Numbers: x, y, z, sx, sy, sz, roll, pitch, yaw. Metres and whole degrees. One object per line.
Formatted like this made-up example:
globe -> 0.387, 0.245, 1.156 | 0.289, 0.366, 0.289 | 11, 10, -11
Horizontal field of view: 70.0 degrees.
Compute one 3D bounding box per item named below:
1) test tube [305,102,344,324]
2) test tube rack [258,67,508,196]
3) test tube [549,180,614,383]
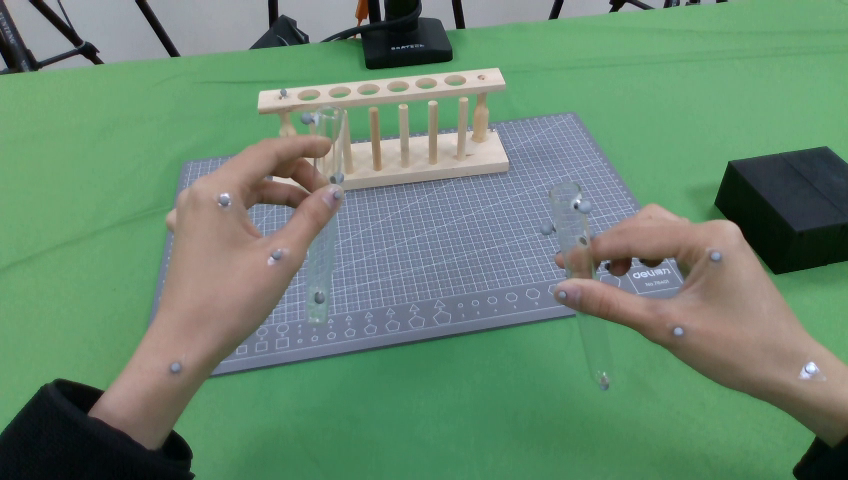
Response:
test tube -> -0.060, -0.009, 0.359 | 0.017, 0.151, 0.017 | 7, 33, -4
test tube rack -> -0.038, -0.111, 0.618 | 0.242, 0.086, 0.066 | -7, 43, -5
test tube -> 0.088, 0.030, 0.329 | 0.017, 0.152, 0.017 | -13, 39, 11
